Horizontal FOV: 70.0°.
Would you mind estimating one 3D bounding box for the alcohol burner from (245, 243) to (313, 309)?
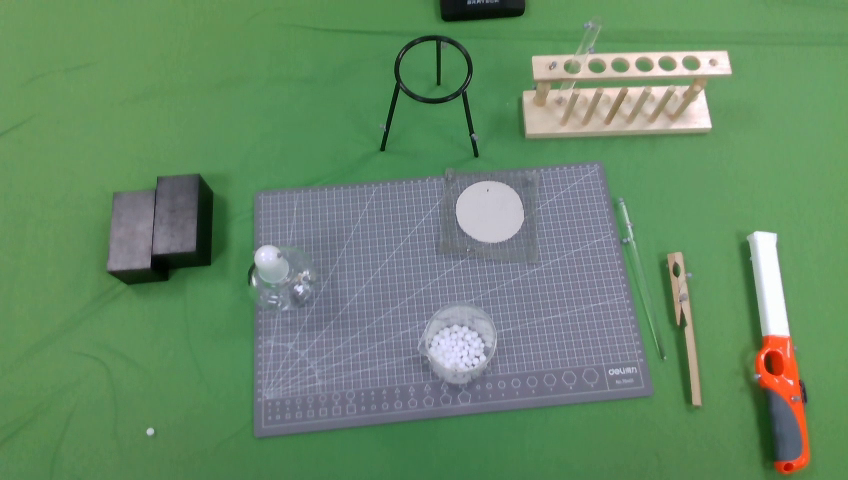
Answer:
[{"bbox_3d":[-0.167,0.034,0.678,0.078,0.120,0.077,-1,69,2],"label":"alcohol burner"}]

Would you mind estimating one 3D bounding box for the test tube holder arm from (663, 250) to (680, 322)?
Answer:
[{"bbox_3d":[0.300,0.055,0.727,0.010,0.015,0.087,-15,67,32],"label":"test tube holder arm"}]

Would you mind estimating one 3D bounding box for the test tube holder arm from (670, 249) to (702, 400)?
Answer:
[{"bbox_3d":[0.306,0.096,0.709,0.013,0.015,0.177,-15,67,32],"label":"test tube holder arm"}]

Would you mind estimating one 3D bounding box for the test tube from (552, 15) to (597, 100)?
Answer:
[{"bbox_3d":[0.181,-0.216,0.736,0.017,0.151,0.017,1,70,-2],"label":"test tube"}]

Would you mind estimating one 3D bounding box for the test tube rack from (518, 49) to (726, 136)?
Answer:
[{"bbox_3d":[0.250,-0.188,0.778,0.242,0.086,0.066,-2,70,-1],"label":"test tube rack"}]

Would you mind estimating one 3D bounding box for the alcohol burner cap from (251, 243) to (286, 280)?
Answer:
[{"bbox_3d":[-0.167,0.020,0.644,0.034,0.048,0.033,2,65,-3],"label":"alcohol burner cap"}]

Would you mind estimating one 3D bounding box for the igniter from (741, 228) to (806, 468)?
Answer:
[{"bbox_3d":[0.401,0.117,0.699,0.057,0.025,0.274,6,70,-8],"label":"igniter"}]

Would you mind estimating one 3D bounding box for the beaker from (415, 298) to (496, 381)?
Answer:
[{"bbox_3d":[0.033,0.113,0.658,0.084,0.101,0.073,-13,70,-4],"label":"beaker"}]

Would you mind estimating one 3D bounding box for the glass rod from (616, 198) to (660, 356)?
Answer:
[{"bbox_3d":[0.259,0.042,0.736,0.008,0.008,0.198,-7,73,-3],"label":"glass rod"}]

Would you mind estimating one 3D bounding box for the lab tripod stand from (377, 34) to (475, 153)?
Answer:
[{"bbox_3d":[0.004,-0.173,0.746,0.148,0.132,0.147,0,72,0],"label":"lab tripod stand"}]

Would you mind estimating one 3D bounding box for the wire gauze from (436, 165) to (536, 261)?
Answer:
[{"bbox_3d":[0.080,-0.037,0.762,0.125,0.011,0.120,5,71,1],"label":"wire gauze"}]
